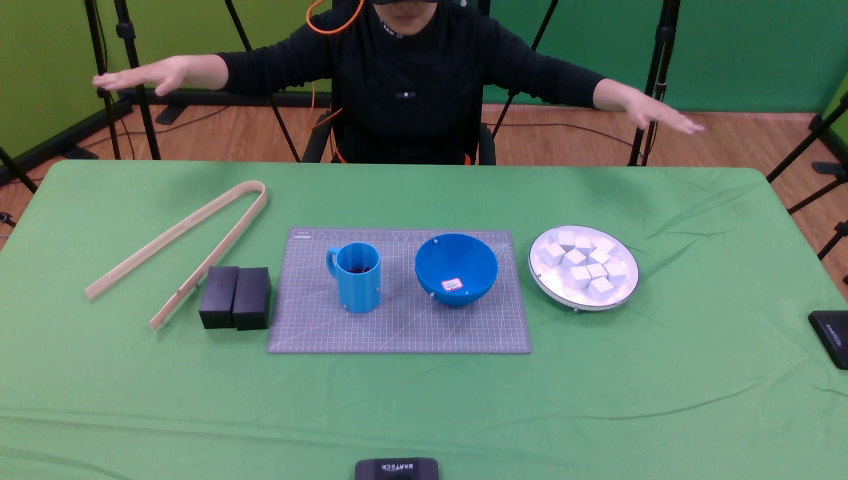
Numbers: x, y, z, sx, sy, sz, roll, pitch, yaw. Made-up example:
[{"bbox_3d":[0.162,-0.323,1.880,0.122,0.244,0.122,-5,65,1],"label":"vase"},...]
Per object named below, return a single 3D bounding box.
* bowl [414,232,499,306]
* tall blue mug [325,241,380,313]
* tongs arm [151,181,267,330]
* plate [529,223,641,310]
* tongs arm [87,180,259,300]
[{"bbox_3d":[0.056,0.066,1.095,0.151,0.077,0.150,2,46,-2],"label":"bowl"},{"bbox_3d":[-0.130,0.063,1.062,0.107,0.108,0.077,9,47,5],"label":"tall blue mug"},{"bbox_3d":[-0.400,0.014,1.145,0.050,0.027,0.383,14,46,18],"label":"tongs arm"},{"bbox_3d":[0.303,0.053,1.156,0.209,0.038,0.208,2,46,-1],"label":"plate"},{"bbox_3d":[-0.473,-0.011,1.172,0.028,0.028,0.387,22,49,29],"label":"tongs arm"}]
